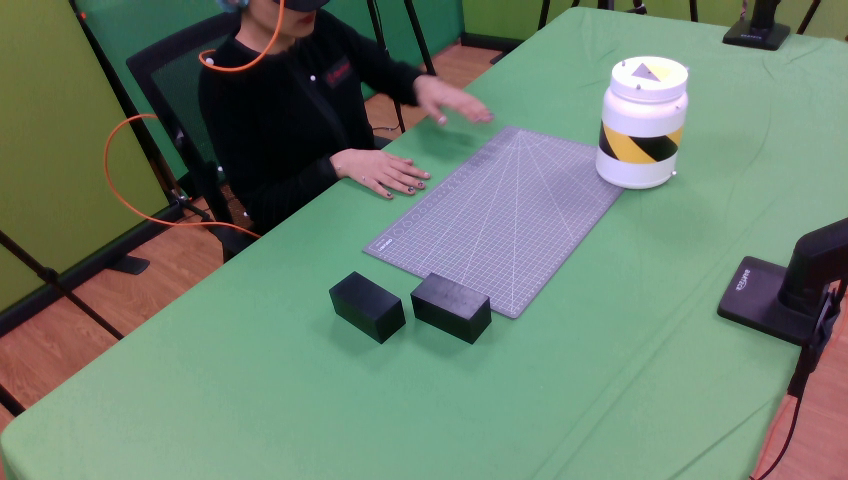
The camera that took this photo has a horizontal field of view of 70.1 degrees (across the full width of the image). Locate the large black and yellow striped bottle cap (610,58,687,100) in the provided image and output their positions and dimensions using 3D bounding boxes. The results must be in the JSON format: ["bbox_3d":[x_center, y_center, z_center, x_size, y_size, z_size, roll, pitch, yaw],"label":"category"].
[{"bbox_3d":[0.355,-0.257,0.958,0.115,0.019,0.114,-2,41,3],"label":"large black and yellow striped bottle cap"}]

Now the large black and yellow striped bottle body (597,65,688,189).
[{"bbox_3d":[0.363,-0.192,1.012,0.131,0.185,0.130,-4,41,4],"label":"large black and yellow striped bottle body"}]
